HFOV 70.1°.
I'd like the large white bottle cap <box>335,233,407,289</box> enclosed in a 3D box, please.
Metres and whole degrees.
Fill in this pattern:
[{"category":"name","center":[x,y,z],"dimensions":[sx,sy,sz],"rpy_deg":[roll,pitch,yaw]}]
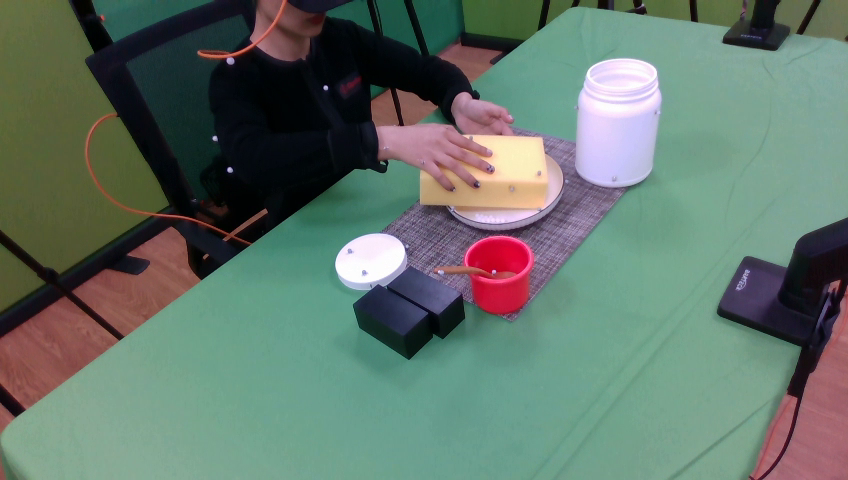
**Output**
[{"category":"large white bottle cap","center":[-0.084,0.032,0.961],"dimensions":[0.115,0.018,0.114],"rpy_deg":[-6,42,6]}]

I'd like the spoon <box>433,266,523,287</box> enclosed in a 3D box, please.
[{"category":"spoon","center":[0.074,0.045,0.815],"dimensions":[0.041,0.021,0.195],"rpy_deg":[33,12,38]}]

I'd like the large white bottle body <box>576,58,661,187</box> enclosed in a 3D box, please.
[{"category":"large white bottle body","center":[0.326,-0.197,1.021],"dimensions":[0.130,0.185,0.130],"rpy_deg":[-5,40,5]}]

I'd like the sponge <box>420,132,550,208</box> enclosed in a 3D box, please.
[{"category":"sponge","center":[0.098,-0.117,1.010],"dimensions":[0.207,0.061,0.117],"rpy_deg":[2,48,-2]}]

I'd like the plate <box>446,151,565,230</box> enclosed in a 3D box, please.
[{"category":"plate","center":[0.134,-0.088,1.032],"dimensions":[0.209,0.038,0.208],"rpy_deg":[-6,46,7]}]
